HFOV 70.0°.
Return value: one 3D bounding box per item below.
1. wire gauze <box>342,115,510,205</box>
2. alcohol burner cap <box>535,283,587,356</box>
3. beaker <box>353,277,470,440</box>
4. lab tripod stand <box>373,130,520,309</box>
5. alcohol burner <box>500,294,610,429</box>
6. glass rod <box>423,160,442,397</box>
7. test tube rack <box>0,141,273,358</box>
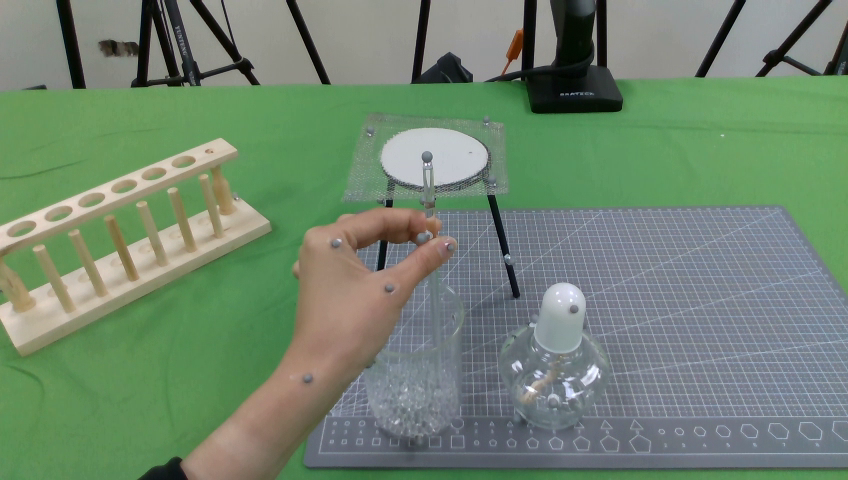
[{"bbox_3d":[0.005,-0.066,0.479,0.121,0.011,0.124,2,40,4],"label":"wire gauze"},{"bbox_3d":[0.092,0.050,0.398,0.034,0.048,0.033,1,41,0],"label":"alcohol burner cap"},{"bbox_3d":[-0.009,0.085,0.428,0.074,0.101,0.083,-33,47,-31],"label":"beaker"},{"bbox_3d":[0.016,-0.016,0.523,0.148,0.132,0.147,0,38,1],"label":"lab tripod stand"},{"bbox_3d":[0.092,0.077,0.421,0.078,0.120,0.077,-1,42,1],"label":"alcohol burner"},{"bbox_3d":[0.006,0.037,0.401,0.008,0.201,0.008,-2,36,2],"label":"glass rod"},{"bbox_3d":[-0.270,-0.001,0.563,0.242,0.086,0.066,-31,47,-30],"label":"test tube rack"}]
